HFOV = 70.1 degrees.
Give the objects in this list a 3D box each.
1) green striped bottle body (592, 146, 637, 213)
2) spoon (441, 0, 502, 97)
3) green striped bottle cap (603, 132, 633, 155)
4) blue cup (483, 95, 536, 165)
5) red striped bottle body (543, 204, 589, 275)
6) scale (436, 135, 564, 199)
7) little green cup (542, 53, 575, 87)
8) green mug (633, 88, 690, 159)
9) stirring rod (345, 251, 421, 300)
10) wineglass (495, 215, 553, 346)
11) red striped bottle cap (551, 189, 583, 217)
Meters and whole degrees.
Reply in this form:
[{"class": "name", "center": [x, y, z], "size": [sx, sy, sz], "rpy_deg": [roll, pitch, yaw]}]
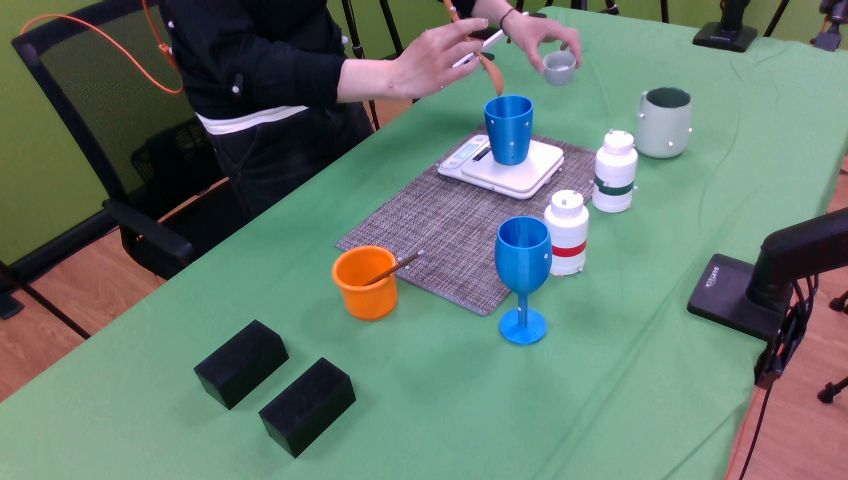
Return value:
[{"class": "green striped bottle body", "center": [0.307, -0.108, 0.976], "size": [0.063, 0.120, 0.063], "rpy_deg": [-4, 41, 4]}, {"class": "spoon", "center": [0.075, -0.302, 0.945], "size": [0.021, 0.195, 0.041], "rpy_deg": [-19, 40, 33]}, {"class": "green striped bottle cap", "center": [0.302, -0.149, 0.939], "size": [0.044, 0.020, 0.044], "rpy_deg": [-3, 40, 3]}, {"class": "blue cup", "center": [0.148, -0.188, 1.053], "size": [0.092, 0.100, 0.092], "rpy_deg": [-5, 39, 5]}, {"class": "red striped bottle body", "center": [0.206, -0.011, 0.878], "size": [0.063, 0.120, 0.062], "rpy_deg": [-5, 41, 4]}, {"class": "scale", "center": [0.137, -0.142, 1.101], "size": [0.199, 0.032, 0.149], "rpy_deg": [22, 48, 30]}, {"class": "little green cup", "center": [0.254, -0.319, 1.140], "size": [0.061, 0.039, 0.061], "rpy_deg": [-5, 51, 7]}, {"class": "green mug", "center": [0.423, -0.217, 1.099], "size": [0.093, 0.105, 0.124], "rpy_deg": [-16, 41, -9]}, {"class": "stirring rod", "center": [-0.060, 0.051, 0.829], "size": [0.175, 0.006, 0.014], "rpy_deg": [-32, 18, 44]}, {"class": "wineglass", "center": [0.127, 0.054, 0.770], "size": [0.074, 0.173, 0.073], "rpy_deg": [-4, 40, 4]}, {"class": "red striped bottle cap", "center": [0.200, -0.052, 0.843], "size": [0.044, 0.018, 0.044], "rpy_deg": [-2, 42, 2]}]
